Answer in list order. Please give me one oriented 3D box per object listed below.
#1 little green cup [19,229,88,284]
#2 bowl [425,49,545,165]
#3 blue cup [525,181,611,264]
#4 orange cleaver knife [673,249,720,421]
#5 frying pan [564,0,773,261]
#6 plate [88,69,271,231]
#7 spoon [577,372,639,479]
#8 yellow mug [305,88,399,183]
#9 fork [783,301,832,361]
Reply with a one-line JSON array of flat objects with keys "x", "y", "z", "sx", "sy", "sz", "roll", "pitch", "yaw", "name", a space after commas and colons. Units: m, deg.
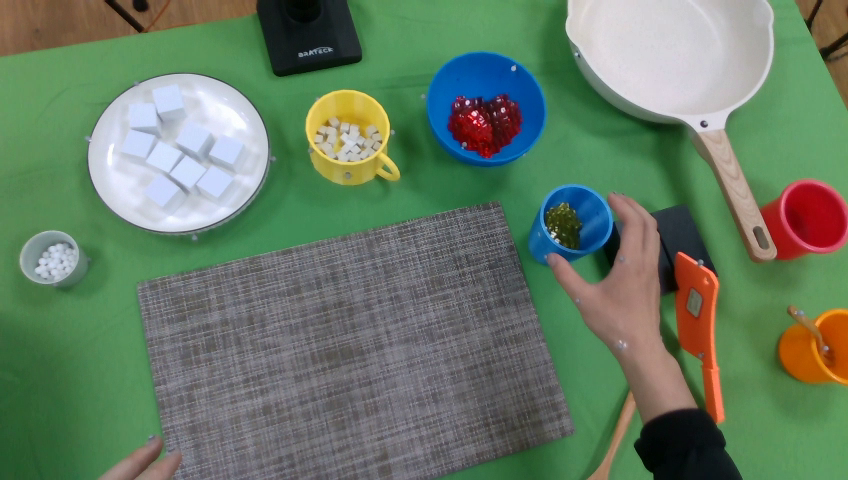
[{"x": -0.414, "y": 0.021, "z": 0.683, "sx": 0.062, "sy": 0.039, "sz": 0.061, "roll": 2, "pitch": 75, "yaw": -7, "name": "little green cup"}, {"x": 0.071, "y": -0.157, "z": 0.775, "sx": 0.152, "sy": 0.077, "sz": 0.150, "roll": 2, "pitch": 75, "yaw": -7, "name": "bowl"}, {"x": 0.165, "y": -0.012, "z": 0.734, "sx": 0.093, "sy": 0.100, "sz": 0.092, "roll": 2, "pitch": 72, "yaw": -7, "name": "blue cup"}, {"x": 0.327, "y": 0.115, "z": 0.730, "sx": 0.012, "sy": 0.076, "sz": 0.212, "roll": -14, "pitch": 106, "yaw": -10, "name": "orange cleaver knife"}, {"x": 0.351, "y": -0.197, "z": 0.807, "sx": 0.307, "sy": 0.103, "sz": 0.484, "roll": -9, "pitch": 68, "yaw": -8, "name": "frying pan"}, {"x": -0.290, "y": -0.107, "z": 0.736, "sx": 0.208, "sy": 0.039, "sz": 0.206, "roll": 2, "pitch": 75, "yaw": -6, "name": "plate"}, {"x": 0.217, "y": 0.241, "z": 0.712, "sx": 0.041, "sy": 0.022, "sz": 0.193, "roll": 26, "pitch": 73, "yaw": 14, "name": "spoon"}, {"x": -0.083, "y": -0.119, "z": 0.751, "sx": 0.130, "sy": 0.064, "sz": 0.100, "roll": 38, "pitch": 73, "yaw": 3, "name": "yellow mug"}, {"x": 0.455, "y": 0.108, "z": 0.713, "sx": 0.209, "sy": 0.018, "sz": 0.028, "roll": 31, "pitch": 66, "yaw": -43, "name": "fork"}]
